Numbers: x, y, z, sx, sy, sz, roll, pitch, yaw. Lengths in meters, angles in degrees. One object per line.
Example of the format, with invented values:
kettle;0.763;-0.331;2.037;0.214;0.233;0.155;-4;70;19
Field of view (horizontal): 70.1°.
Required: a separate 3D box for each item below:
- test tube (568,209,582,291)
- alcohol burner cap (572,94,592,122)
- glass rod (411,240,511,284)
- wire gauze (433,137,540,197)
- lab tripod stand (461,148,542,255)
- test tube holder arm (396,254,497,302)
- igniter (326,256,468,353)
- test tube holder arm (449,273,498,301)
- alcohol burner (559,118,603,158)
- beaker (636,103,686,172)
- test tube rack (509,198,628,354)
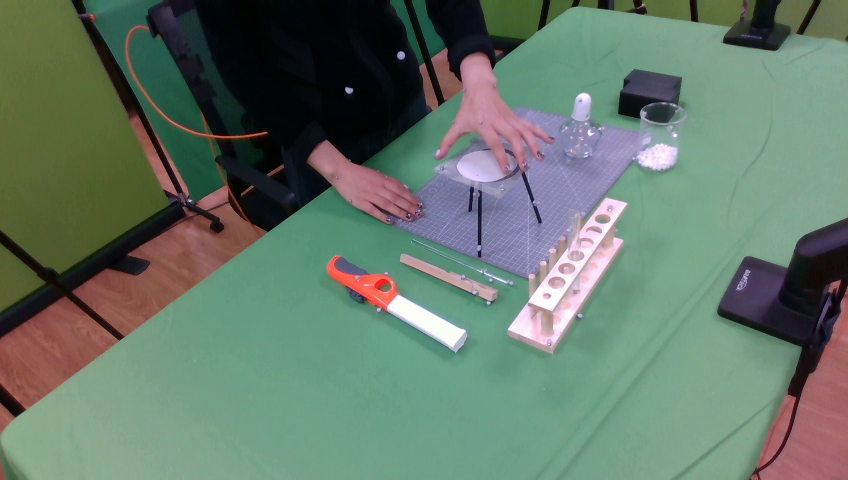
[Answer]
test tube;0.200;0.017;0.799;0.017;0.151;0.017;-8;45;8
alcohol burner cap;0.284;-0.238;1.079;0.034;0.048;0.033;-1;48;2
glass rod;0.053;0.033;0.946;0.198;0.008;0.008;22;50;36
wire gauze;0.094;-0.116;0.907;0.124;0.011;0.122;21;47;30
lab tripod stand;0.114;-0.069;0.953;0.148;0.132;0.147;-5;38;4
test tube holder arm;0.030;0.055;0.912;0.177;0.015;0.013;21;9;29
igniter;-0.051;0.088;0.886;0.274;0.025;0.057;26;61;35
test tube holder arm;0.070;0.069;0.894;0.087;0.015;0.010;21;9;31
alcohol burner;0.287;-0.212;1.104;0.078;0.119;0.077;-4;40;4
beaker;0.413;-0.177;1.055;0.084;0.101;0.073;-28;44;-21
test tube rack;0.206;0.039;0.850;0.066;0.085;0.243;20;48;31
